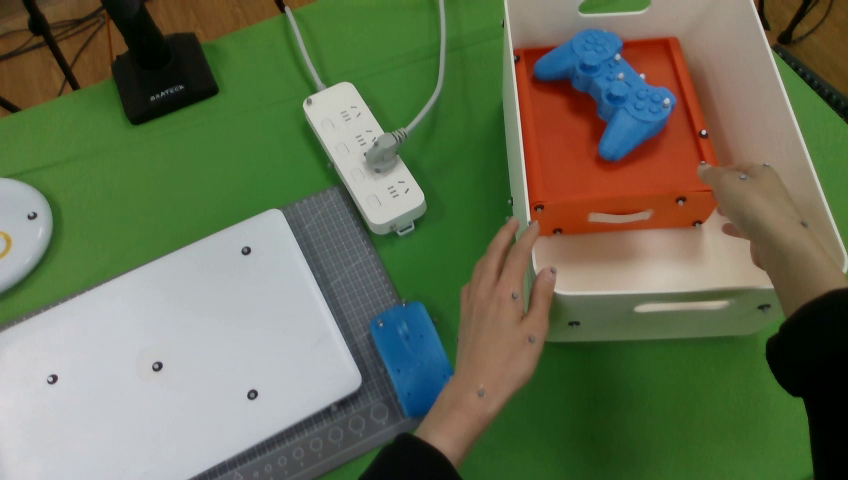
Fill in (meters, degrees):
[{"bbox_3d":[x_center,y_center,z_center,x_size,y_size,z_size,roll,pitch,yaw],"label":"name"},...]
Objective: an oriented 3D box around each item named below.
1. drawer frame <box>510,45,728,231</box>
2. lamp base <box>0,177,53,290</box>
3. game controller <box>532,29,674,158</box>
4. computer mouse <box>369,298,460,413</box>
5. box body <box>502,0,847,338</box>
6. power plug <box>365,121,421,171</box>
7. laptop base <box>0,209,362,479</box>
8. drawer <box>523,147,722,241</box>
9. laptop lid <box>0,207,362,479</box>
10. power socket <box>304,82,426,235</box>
[{"bbox_3d":[0.201,-0.117,0.685,0.202,0.083,0.211,-3,57,0],"label":"drawer frame"},{"bbox_3d":[-0.531,-0.043,0.641,0.178,0.182,0.160,20,66,16],"label":"lamp base"},{"bbox_3d":[0.197,-0.167,0.656,0.097,0.052,0.153,-25,64,-13],"label":"game controller"},{"bbox_3d":[-0.012,0.112,0.612,0.063,0.041,0.116,-22,61,-6],"label":"computer mouse"},{"bbox_3d":[0.217,-0.087,0.632,0.254,0.161,0.361,-3,63,2],"label":"box body"},{"bbox_3d":[-0.033,-0.102,0.701,0.072,0.053,0.035,-16,62,-7],"label":"power plug"},{"bbox_3d":[-0.268,0.130,0.630,0.354,0.023,0.233,-26,69,-10],"label":"laptop base"},{"bbox_3d":[0.205,-0.104,0.700,0.194,0.074,0.209,-4,53,2],"label":"drawer"},{"bbox_3d":[-0.267,0.127,0.618,0.357,0.013,0.239,-25,67,-9],"label":"laptop lid"},{"bbox_3d":[-0.074,-0.103,0.729,0.072,0.033,0.224,-26,65,-12],"label":"power socket"}]
